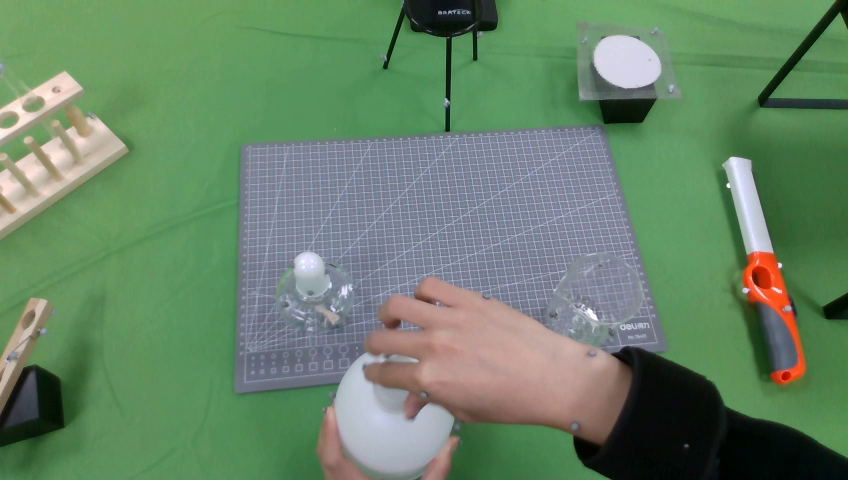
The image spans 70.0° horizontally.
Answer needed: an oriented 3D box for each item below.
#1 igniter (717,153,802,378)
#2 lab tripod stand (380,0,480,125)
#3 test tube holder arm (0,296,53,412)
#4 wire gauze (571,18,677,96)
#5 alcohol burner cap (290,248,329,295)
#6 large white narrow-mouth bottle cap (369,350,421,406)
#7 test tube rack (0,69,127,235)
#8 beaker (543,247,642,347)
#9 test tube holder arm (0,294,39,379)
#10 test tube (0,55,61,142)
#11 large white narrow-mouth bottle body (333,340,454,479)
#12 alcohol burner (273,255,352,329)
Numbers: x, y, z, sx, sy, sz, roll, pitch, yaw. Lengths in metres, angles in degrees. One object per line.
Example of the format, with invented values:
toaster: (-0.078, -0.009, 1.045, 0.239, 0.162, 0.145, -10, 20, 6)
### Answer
igniter: (0.379, 0.021, 0.689, 0.057, 0.025, 0.274, 6, 64, -13)
lab tripod stand: (0.017, -0.234, 0.727, 0.148, 0.132, 0.147, 2, 65, -5)
test tube holder arm: (-0.374, 0.133, 0.534, 0.013, 0.015, 0.177, 8, 65, 6)
wire gauze: (0.246, -0.228, 0.755, 0.121, 0.011, 0.124, 3, 64, -3)
alcohol burner cap: (-0.108, 0.027, 0.560, 0.034, 0.048, 0.033, 1, 59, -1)
large white narrow-mouth bottle cap: (-0.021, 0.097, 0.428, 0.038, 0.024, 0.037, 2, 64, -3)
test tube rack: (-0.452, -0.070, 0.640, 0.066, 0.086, 0.242, 41, 68, 15)
beaker: (0.162, 0.062, 0.610, 0.084, 0.101, 0.073, -3, 64, -4)
test tube holder arm: (-0.372, 0.092, 0.553, 0.010, 0.015, 0.087, 6, 64, 5)
test tube: (-0.415, -0.151, 0.627, 0.017, 0.151, 0.017, 0, 62, 0)
large white narrow-mouth bottle body: (-0.026, 0.140, 0.510, 0.102, 0.196, 0.101, 1, 63, -3)
alcohol burner: (-0.110, 0.043, 0.592, 0.078, 0.120, 0.077, 3, 62, -5)
